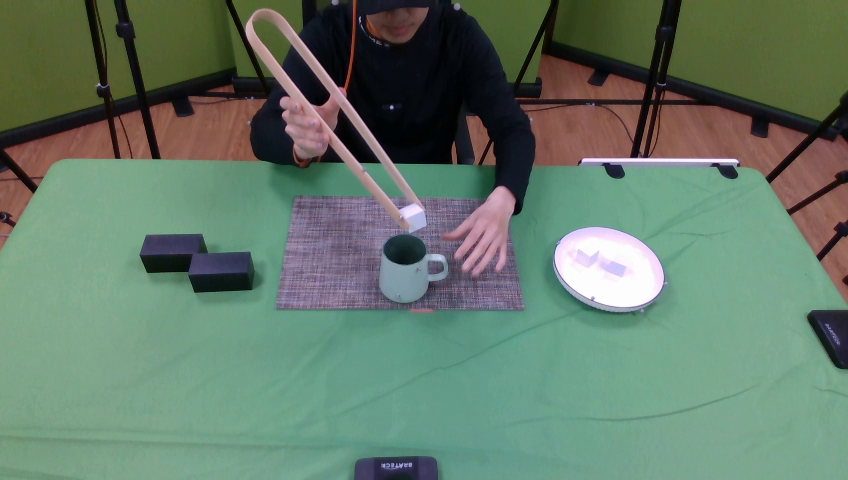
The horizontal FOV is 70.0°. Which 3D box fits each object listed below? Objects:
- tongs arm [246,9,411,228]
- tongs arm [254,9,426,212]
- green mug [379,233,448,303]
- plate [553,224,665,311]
[{"bbox_3d":[-0.137,-0.175,0.925,0.386,0.026,0.050,49,61,-17],"label":"tongs arm"},{"bbox_3d":[-0.120,-0.193,0.939,0.028,0.027,0.389,-46,107,-25],"label":"tongs arm"},{"bbox_3d":[-0.018,0.050,1.084,0.125,0.105,0.092,0,46,-4],"label":"green mug"},{"bbox_3d":[0.349,0.055,1.159,0.209,0.038,0.208,2,47,-2],"label":"plate"}]
